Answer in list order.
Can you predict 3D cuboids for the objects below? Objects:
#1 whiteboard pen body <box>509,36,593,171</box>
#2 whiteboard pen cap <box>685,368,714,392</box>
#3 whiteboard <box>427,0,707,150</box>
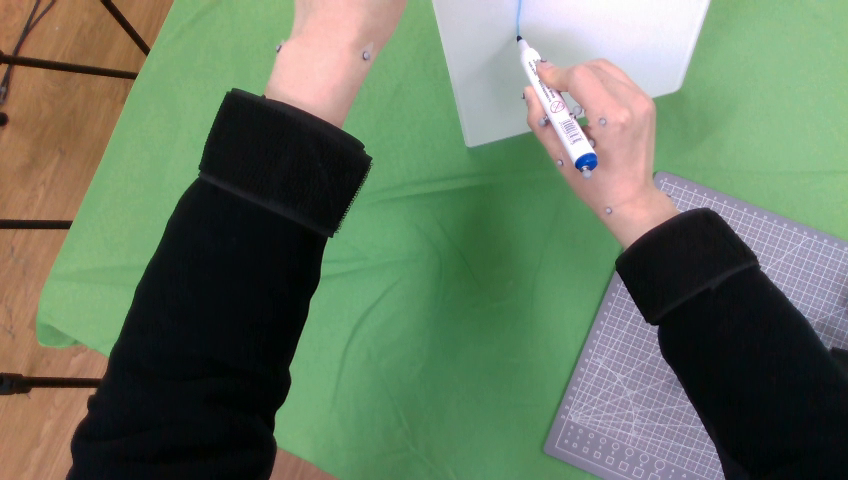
[{"bbox_3d":[0.087,-0.104,0.437,0.017,0.017,0.139,-22,58,4],"label":"whiteboard pen body"},{"bbox_3d":[0.260,0.131,0.574,0.018,0.033,0.018,0,91,4],"label":"whiteboard pen cap"},{"bbox_3d":[0.104,-0.234,0.490,0.217,0.308,0.142,-14,68,5],"label":"whiteboard"}]
